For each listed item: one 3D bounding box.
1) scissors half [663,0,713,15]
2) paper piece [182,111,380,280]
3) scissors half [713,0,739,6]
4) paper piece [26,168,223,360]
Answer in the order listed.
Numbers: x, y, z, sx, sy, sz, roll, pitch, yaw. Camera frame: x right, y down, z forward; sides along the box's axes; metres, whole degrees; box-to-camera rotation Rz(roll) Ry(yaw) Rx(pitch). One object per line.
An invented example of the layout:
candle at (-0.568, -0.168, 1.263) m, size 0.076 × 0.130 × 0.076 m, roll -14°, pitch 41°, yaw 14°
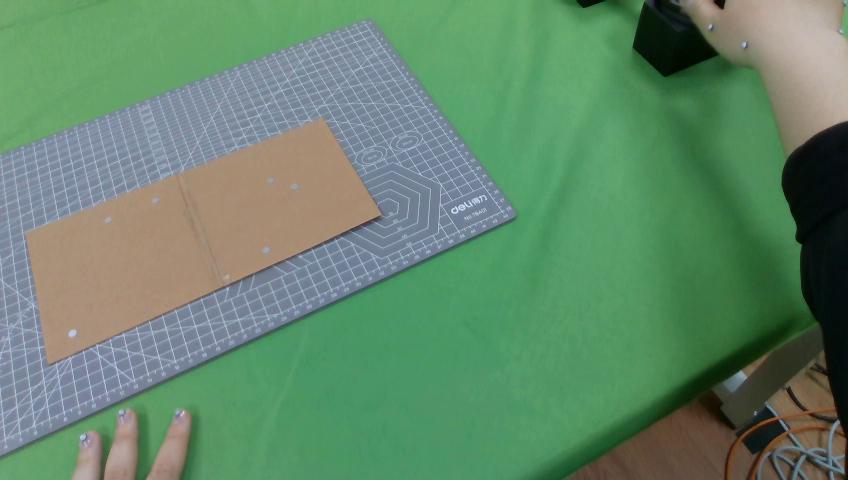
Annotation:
scissors half at (0.214, -0.264, 0.568) m, size 0.040 × 0.013 × 0.173 m, roll -11°, pitch 55°, yaw -10°
paper piece at (-0.124, -0.045, 0.512) m, size 0.135 × 0.004 × 0.134 m, roll -25°, pitch 57°, yaw -11°
scissors half at (0.233, -0.272, 0.573) m, size 0.040 × 0.013 × 0.173 m, roll -29°, pitch 60°, yaw -15°
paper piece at (-0.243, 0.011, 0.486) m, size 0.138 × 0.009 × 0.134 m, roll -25°, pitch 55°, yaw -11°
